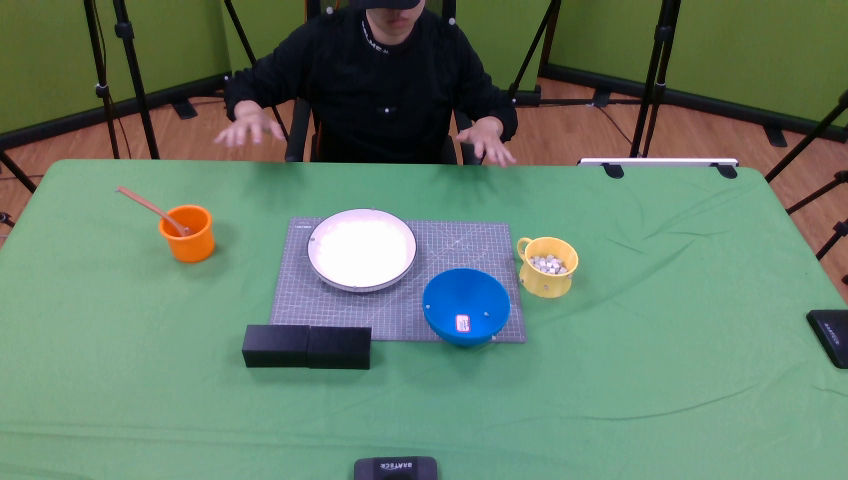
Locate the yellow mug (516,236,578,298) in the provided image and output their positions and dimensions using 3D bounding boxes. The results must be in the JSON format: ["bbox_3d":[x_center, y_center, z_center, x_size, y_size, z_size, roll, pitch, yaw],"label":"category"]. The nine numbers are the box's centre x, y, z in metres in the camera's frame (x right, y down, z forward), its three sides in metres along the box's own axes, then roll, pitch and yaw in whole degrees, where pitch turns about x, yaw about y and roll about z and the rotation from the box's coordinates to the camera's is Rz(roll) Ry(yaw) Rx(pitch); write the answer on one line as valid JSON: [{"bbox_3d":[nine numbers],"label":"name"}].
[{"bbox_3d":[0.223,0.041,1.145,0.100,0.064,0.130,-30,54,-29],"label":"yellow mug"}]

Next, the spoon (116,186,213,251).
[{"bbox_3d":[-0.474,-0.041,1.112,0.021,0.195,0.041,-31,31,29],"label":"spoon"}]

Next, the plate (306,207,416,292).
[{"bbox_3d":[-0.119,0.021,1.153,0.209,0.038,0.208,2,46,-2],"label":"plate"}]

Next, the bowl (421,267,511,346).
[{"bbox_3d":[0.068,0.128,1.037,0.151,0.077,0.150,3,46,-2],"label":"bowl"}]
